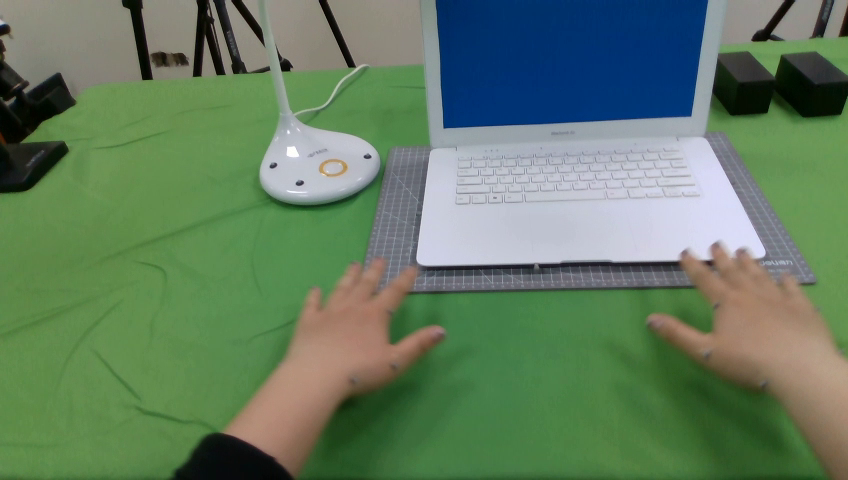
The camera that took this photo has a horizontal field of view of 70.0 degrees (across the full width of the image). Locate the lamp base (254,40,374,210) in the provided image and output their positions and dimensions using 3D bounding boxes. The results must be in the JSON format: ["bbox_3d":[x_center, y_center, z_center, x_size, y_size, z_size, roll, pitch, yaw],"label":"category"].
[{"bbox_3d":[-0.162,-0.154,0.766,0.177,0.182,0.160,25,48,37],"label":"lamp base"}]

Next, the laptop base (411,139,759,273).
[{"bbox_3d":[0.168,-0.042,0.707,0.354,0.023,0.233,-2,42,6],"label":"laptop base"}]

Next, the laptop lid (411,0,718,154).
[{"bbox_3d":[0.165,-0.218,0.738,0.356,0.244,0.013,-3,31,6],"label":"laptop lid"}]
